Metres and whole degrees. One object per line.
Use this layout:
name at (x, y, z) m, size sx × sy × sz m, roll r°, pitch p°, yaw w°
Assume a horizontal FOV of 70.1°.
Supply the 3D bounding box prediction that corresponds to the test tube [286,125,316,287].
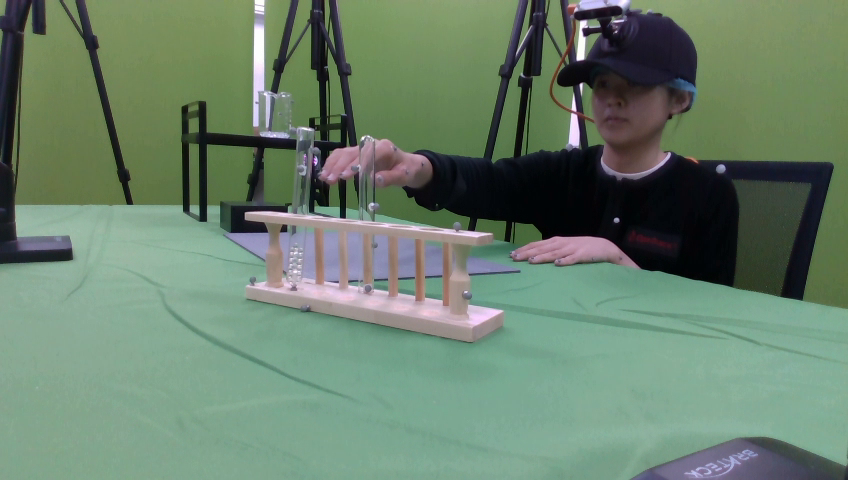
test tube at (-0.115, -0.030, 0.560) m, size 0.017 × 0.150 × 0.017 m, roll 6°, pitch 8°, yaw -1°

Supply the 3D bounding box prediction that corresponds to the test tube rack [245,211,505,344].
test tube rack at (-0.049, 0.025, 0.547) m, size 0.241 × 0.085 × 0.067 m, roll 7°, pitch 8°, yaw 28°

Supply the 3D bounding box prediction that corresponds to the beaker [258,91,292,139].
beaker at (-0.331, -0.276, 1.343) m, size 0.074 × 0.100 × 0.083 m, roll 0°, pitch 8°, yaw -20°

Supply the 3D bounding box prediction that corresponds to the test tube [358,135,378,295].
test tube at (-0.052, -0.022, 0.565) m, size 0.017 × 0.150 × 0.017 m, roll 2°, pitch 7°, yaw 0°
